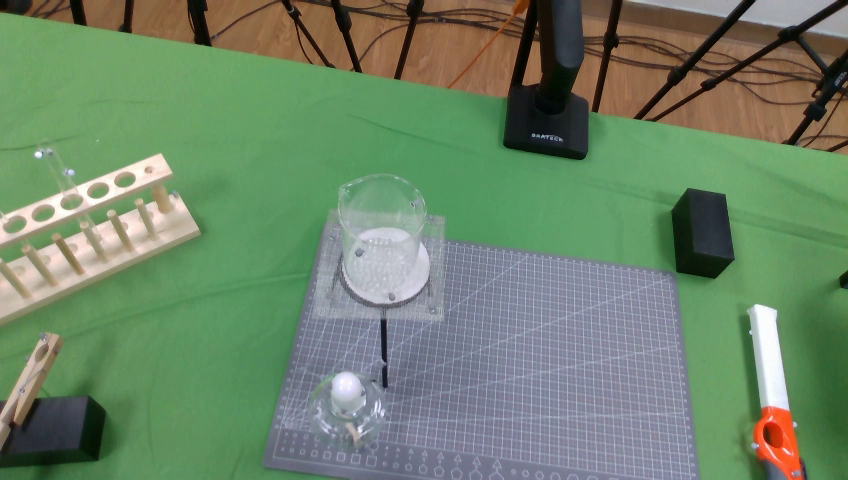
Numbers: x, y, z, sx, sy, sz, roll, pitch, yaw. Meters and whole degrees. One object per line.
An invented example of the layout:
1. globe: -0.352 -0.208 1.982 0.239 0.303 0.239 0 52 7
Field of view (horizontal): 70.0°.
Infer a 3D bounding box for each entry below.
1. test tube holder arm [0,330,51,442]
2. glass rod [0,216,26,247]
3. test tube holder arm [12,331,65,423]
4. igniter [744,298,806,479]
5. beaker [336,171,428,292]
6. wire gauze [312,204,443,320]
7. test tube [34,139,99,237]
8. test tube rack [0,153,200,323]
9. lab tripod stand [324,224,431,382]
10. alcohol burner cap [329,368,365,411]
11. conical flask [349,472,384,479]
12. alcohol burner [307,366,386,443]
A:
1. test tube holder arm: -0.384 0.165 0.554 0.013 0.015 0.177 10 57 1
2. glass rod: -0.437 -0.031 0.609 0.008 0.201 0.008 0 54 0
3. test tube holder arm: -0.371 0.130 0.579 0.010 0.015 0.087 11 57 1
4. igniter: 0.385 0.190 0.670 0.057 0.025 0.274 17 57 -8
5. beaker: -0.042 -0.004 0.546 0.083 0.101 0.074 30 60 12
6. wire gauze: -0.042 0.020 0.588 0.121 0.011 0.124 3 62 -2
7. test tube: -0.379 -0.050 0.648 0.017 0.151 0.017 4 53 -5
8. test tube rack: -0.388 -0.002 0.676 0.242 0.086 0.066 -28 65 -21
9. lab tripod stand: -0.045 0.059 0.641 0.148 0.132 0.147 4 59 -5
10. alcohol burner cap: -0.072 0.136 0.559 0.034 0.048 0.033 1 61 -1
11. conical flask: -0.050 0.231 0.509 0.075 0.123 0.074 4 52 -5
12. alcohol burner: -0.075 0.154 0.591 0.078 0.120 0.077 4 57 -5
